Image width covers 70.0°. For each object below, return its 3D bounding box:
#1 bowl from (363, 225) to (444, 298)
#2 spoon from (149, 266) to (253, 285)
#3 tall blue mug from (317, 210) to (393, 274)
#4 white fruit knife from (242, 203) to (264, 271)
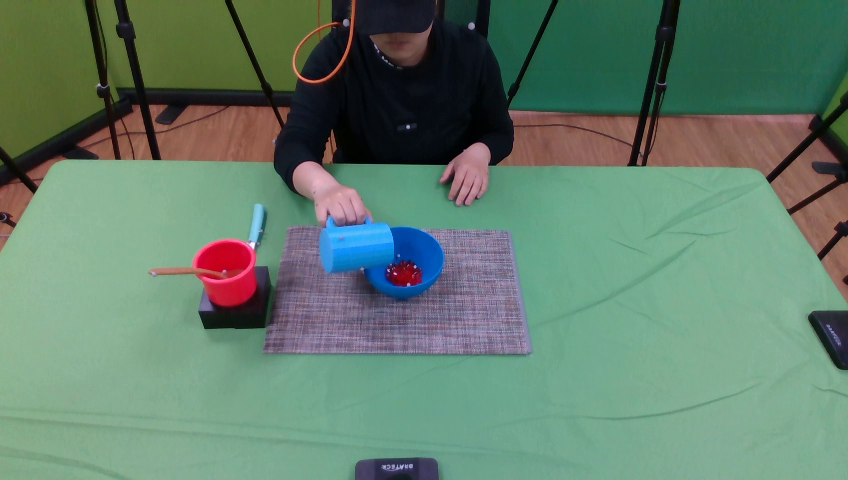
[{"bbox_3d":[-0.040,0.053,1.099,0.151,0.077,0.150,2,46,-2],"label":"bowl"},{"bbox_3d":[-0.351,0.052,0.968,0.041,0.021,0.194,41,12,28],"label":"spoon"},{"bbox_3d":[-0.119,-0.003,1.024,0.108,0.077,0.107,-8,85,-26],"label":"tall blue mug"},{"bbox_3d":[-0.334,0.001,1.178,0.027,0.016,0.206,-18,46,16],"label":"white fruit knife"}]
